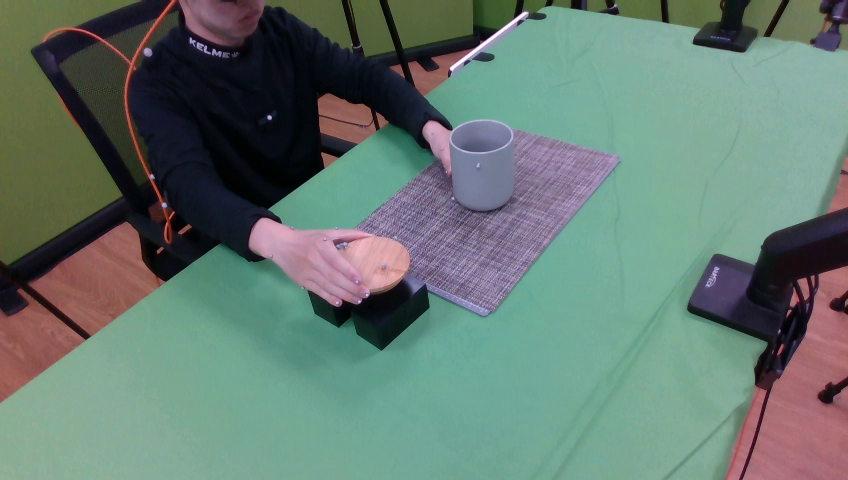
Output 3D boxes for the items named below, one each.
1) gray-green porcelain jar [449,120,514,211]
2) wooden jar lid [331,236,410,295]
[{"bbox_3d":[0.098,-0.120,1.009,0.106,0.127,0.105,-4,41,4],"label":"gray-green porcelain jar"},{"bbox_3d":[-0.073,0.037,0.826,0.108,0.021,0.108,-2,39,2],"label":"wooden jar lid"}]
